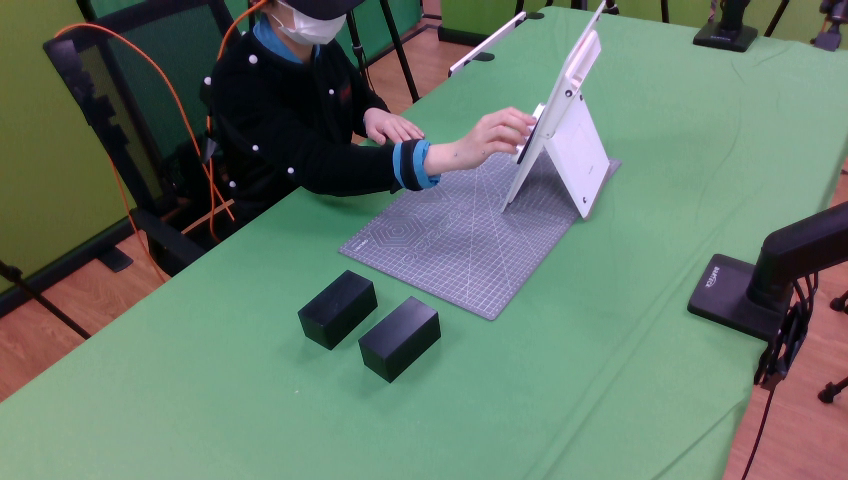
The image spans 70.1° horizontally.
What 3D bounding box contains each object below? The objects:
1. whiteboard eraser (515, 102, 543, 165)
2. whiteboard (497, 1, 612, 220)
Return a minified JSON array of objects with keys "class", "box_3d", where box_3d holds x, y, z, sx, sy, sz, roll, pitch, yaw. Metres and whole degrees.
[{"class":"whiteboard eraser","box_3d":[0.162,-0.161,0.916,0.019,0.041,0.101,23,82,6]},{"class":"whiteboard","box_3d":[0.260,-0.177,0.963,0.143,0.306,0.217,28,49,9]}]
